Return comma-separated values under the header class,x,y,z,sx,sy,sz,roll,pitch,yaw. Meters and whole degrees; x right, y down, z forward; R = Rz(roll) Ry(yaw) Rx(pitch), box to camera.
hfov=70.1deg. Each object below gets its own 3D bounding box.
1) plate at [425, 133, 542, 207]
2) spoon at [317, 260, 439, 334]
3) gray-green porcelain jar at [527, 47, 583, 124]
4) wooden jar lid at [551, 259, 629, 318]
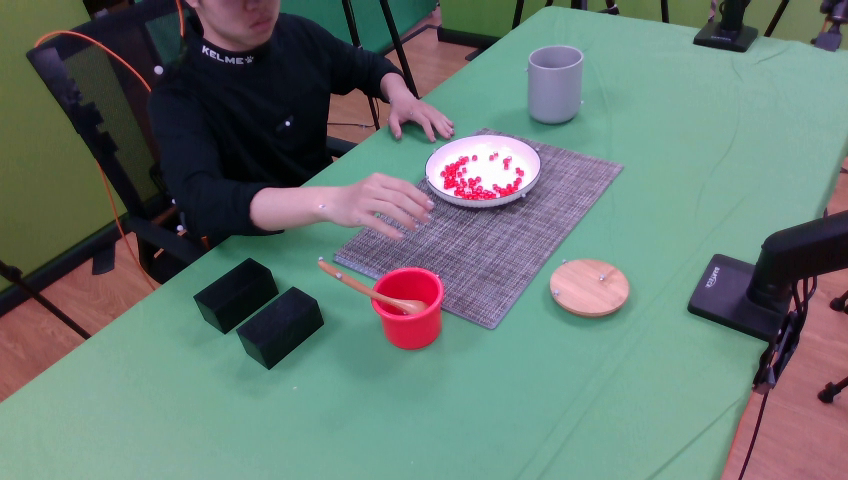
class,x,y,z,sx,sy,sz,roll,pitch,yaw
plate,0.106,-0.122,1.079,0.207,0.039,0.206,-4,41,4
spoon,-0.056,0.074,0.788,0.195,0.021,0.041,27,42,-21
gray-green porcelain jar,0.260,-0.305,1.207,0.106,0.127,0.105,-4,41,4
wooden jar lid,0.234,0.070,0.857,0.108,0.021,0.108,-5,40,5
